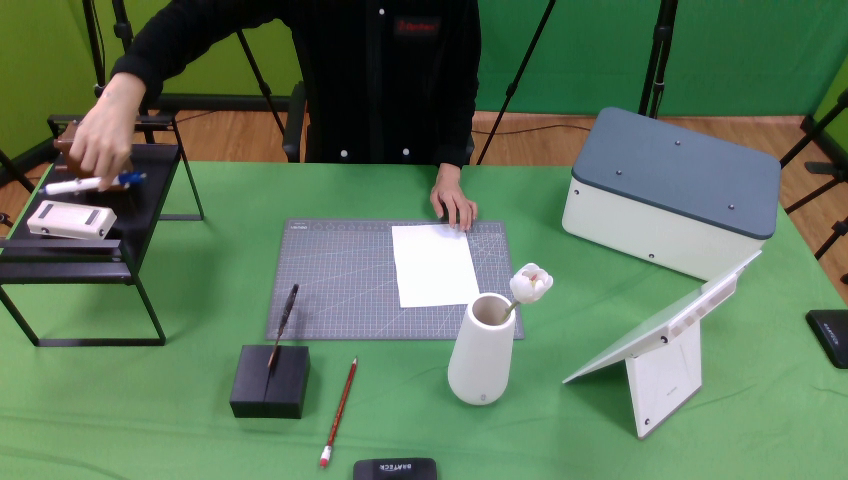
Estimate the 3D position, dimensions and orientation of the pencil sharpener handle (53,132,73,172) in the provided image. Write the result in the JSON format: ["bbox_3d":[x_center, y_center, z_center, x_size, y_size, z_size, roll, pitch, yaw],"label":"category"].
[{"bbox_3d":[-0.578,-0.138,0.961,0.031,0.068,0.036,-4,34,-7],"label":"pencil sharpener handle"}]

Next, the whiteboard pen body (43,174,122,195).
[{"bbox_3d":[-0.500,-0.086,0.913,0.141,0.017,0.017,-9,47,-1],"label":"whiteboard pen body"}]

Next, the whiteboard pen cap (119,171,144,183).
[{"bbox_3d":[-0.442,-0.095,0.915,0.033,0.018,0.018,-8,47,0],"label":"whiteboard pen cap"}]

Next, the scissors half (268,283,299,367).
[{"bbox_3d":[-0.230,0.135,0.986,0.013,0.040,0.174,19,43,-11],"label":"scissors half"}]

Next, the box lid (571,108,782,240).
[{"bbox_3d":[0.491,-0.139,1.168,0.370,0.015,0.262,21,49,15],"label":"box lid"}]

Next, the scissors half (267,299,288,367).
[{"bbox_3d":[-0.239,0.150,0.996,0.013,0.040,0.174,24,24,-13],"label":"scissors half"}]

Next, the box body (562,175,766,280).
[{"bbox_3d":[0.486,-0.088,1.222,0.363,0.161,0.253,20,48,15],"label":"box body"}]

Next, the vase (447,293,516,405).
[{"bbox_3d":[0.091,0.169,0.921,0.098,0.201,0.097,3,47,-3],"label":"vase"}]

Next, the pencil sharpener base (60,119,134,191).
[{"bbox_3d":[-0.528,-0.135,0.979,0.077,0.107,0.061,-4,47,-7],"label":"pencil sharpener base"}]

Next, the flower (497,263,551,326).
[{"bbox_3d":[0.103,0.121,0.853,0.044,0.363,0.038,-1,64,-9],"label":"flower"}]

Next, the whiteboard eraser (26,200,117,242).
[{"bbox_3d":[-0.532,-0.026,0.919,0.113,0.042,0.055,7,45,3],"label":"whiteboard eraser"}]

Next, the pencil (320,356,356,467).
[{"bbox_3d":[-0.130,0.261,0.946,0.012,0.012,0.193,9,45,5],"label":"pencil"}]

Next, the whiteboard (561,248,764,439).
[{"bbox_3d":[0.386,0.176,0.905,0.217,0.306,0.143,-26,72,-27],"label":"whiteboard"}]
